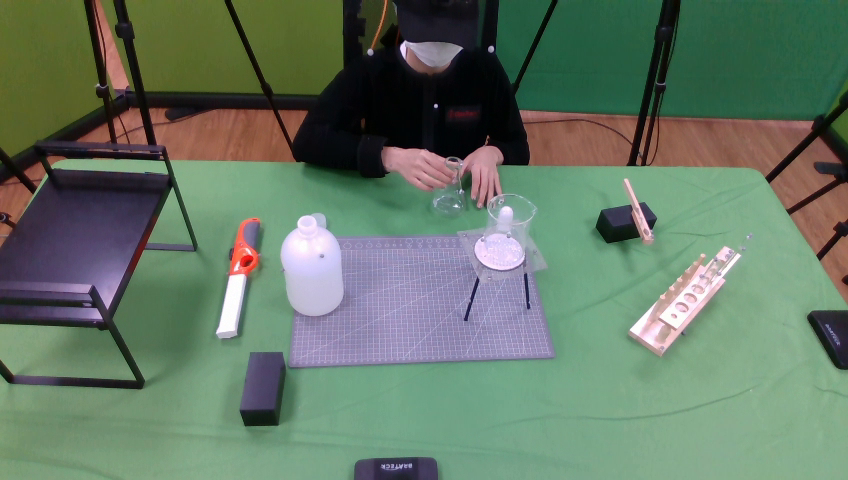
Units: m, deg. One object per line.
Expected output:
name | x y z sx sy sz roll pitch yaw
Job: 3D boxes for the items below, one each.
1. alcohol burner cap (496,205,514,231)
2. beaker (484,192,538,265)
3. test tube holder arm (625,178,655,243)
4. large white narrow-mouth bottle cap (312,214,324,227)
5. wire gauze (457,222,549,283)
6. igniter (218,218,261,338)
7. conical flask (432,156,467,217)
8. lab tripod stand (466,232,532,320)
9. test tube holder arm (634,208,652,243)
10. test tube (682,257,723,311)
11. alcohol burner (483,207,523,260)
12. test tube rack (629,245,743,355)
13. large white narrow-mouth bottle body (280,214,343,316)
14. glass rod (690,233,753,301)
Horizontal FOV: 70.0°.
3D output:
alcohol burner cap | 0.153 -0.044 1.131 0.034 0.048 0.033 2 40 -1
beaker | 0.137 -0.016 0.980 0.084 0.101 0.073 -6 45 -9
test tube holder arm | 0.433 -0.062 1.220 0.013 0.015 0.177 2 47 -3
large white narrow-mouth bottle cap | -0.219 -0.033 1.214 0.038 0.024 0.037 2 46 -2
wire gauze | 0.131 0.016 1.017 0.121 0.011 0.124 -10 44 -16
igniter | -0.336 0.060 1.111 0.057 0.025 0.274 -8 46 4
conical flask | 0.056 -0.113 1.239 0.075 0.122 0.075 2 45 -2
lab tripod stand | 0.125 0.059 1.065 0.148 0.132 0.147 1 45 0
test tube holder arm | 0.428 -0.030 1.189 0.010 0.015 0.087 2 47 -3
test tube | 0.475 0.080 1.037 0.017 0.151 0.017 1 50 -1
alcohol burner | 0.152 -0.018 1.156 0.078 0.120 0.077 0 47 0
test tube rack | 0.474 0.095 1.091 0.242 0.085 0.066 -34 56 -31
large white narrow-mouth bottle body | -0.190 0.035 1.025 0.102 0.195 0.101 2 46 -2
glass rod | 0.507 0.053 1.041 0.008 0.200 0.008 5 51 -6
